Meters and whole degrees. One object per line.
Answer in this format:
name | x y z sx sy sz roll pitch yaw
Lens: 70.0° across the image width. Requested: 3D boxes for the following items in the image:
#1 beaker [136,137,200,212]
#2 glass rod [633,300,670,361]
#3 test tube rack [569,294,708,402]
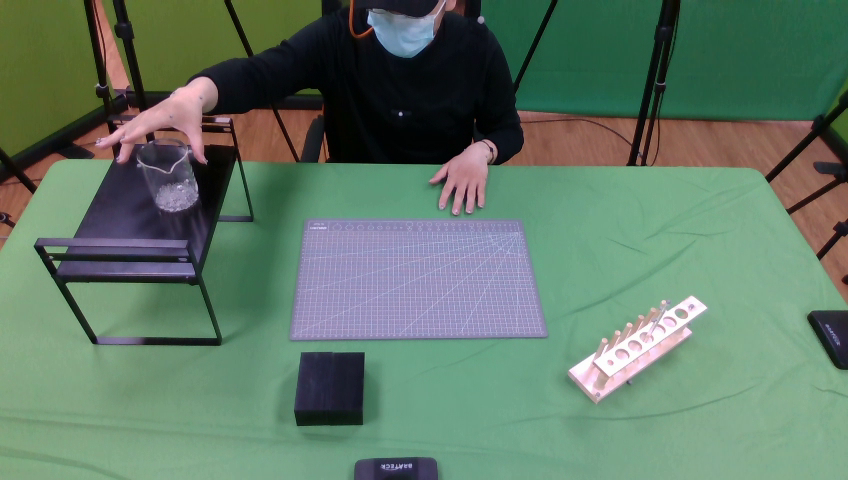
beaker | -0.399 -0.098 0.957 0.074 0.101 0.083 -19 51 -20
glass rod | 0.351 0.144 0.944 0.008 0.201 0.008 -1 55 1
test tube rack | 0.360 0.167 1.015 0.242 0.085 0.066 -25 52 -25
